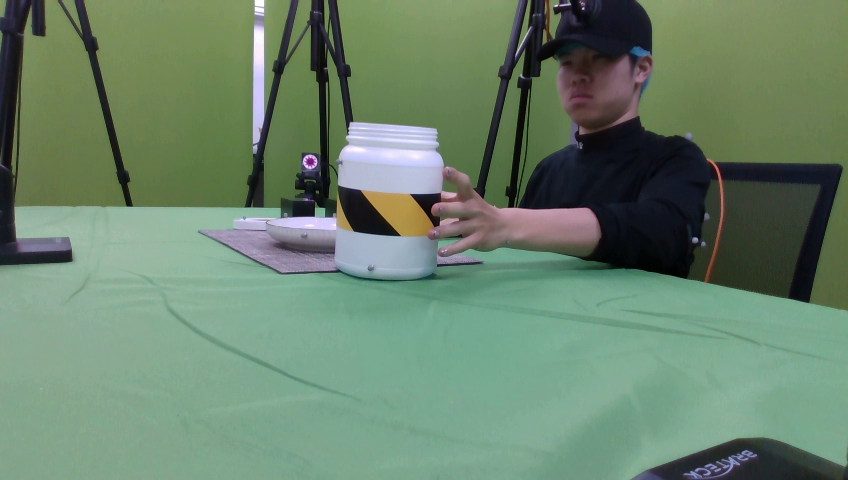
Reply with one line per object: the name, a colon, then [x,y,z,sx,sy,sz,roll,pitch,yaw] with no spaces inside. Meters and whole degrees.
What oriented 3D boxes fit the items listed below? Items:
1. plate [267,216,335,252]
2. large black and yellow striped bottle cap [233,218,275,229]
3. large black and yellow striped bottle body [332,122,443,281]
plate: [-0.145,-0.010,0.967,0.208,0.039,0.207,2,7,0]
large black and yellow striped bottle cap: [-0.311,-0.032,1.172,0.115,0.019,0.115,1,4,0]
large black and yellow striped bottle body: [-0.045,-0.051,0.755,0.131,0.184,0.130,4,10,0]
